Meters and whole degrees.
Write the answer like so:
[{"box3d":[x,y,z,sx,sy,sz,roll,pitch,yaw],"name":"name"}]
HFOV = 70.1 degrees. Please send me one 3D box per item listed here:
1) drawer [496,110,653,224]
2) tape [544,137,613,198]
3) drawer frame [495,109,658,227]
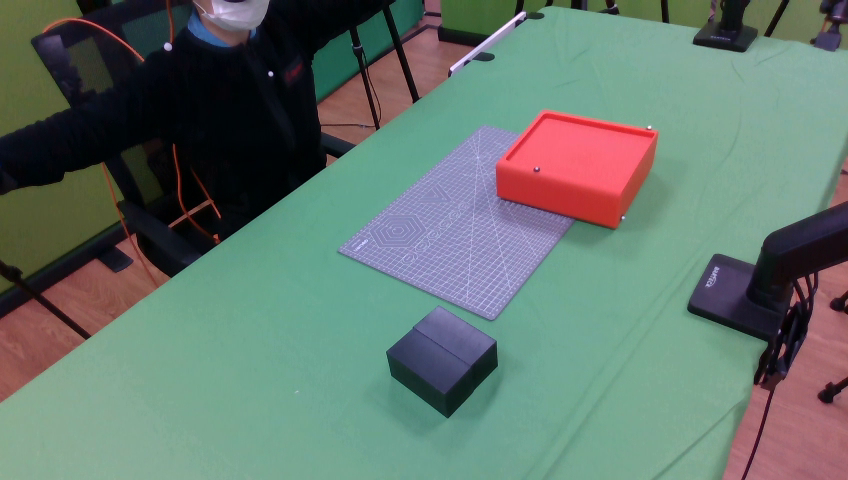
[{"box3d":[0.257,-0.130,1.032,0.210,0.073,0.195,18,46,26],"name":"drawer"},{"box3d":[0.263,-0.125,1.034,0.117,0.053,0.116,-5,40,5],"name":"tape"},{"box3d":[0.260,-0.130,1.031,0.212,0.083,0.202,18,46,26],"name":"drawer frame"}]
